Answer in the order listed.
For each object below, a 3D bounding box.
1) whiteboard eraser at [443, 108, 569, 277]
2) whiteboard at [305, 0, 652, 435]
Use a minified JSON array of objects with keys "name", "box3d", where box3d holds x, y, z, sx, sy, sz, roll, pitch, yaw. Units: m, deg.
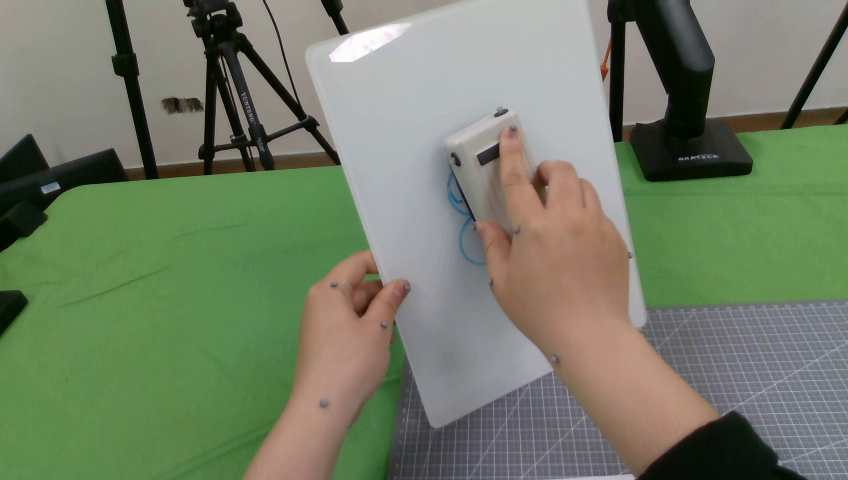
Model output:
[{"name":"whiteboard eraser","box3d":[0.059,-0.033,0.439,0.055,0.113,0.041,-29,19,-8]},{"name":"whiteboard","box3d":[0.040,-0.037,0.523,0.217,0.307,0.143,-22,18,-14]}]
